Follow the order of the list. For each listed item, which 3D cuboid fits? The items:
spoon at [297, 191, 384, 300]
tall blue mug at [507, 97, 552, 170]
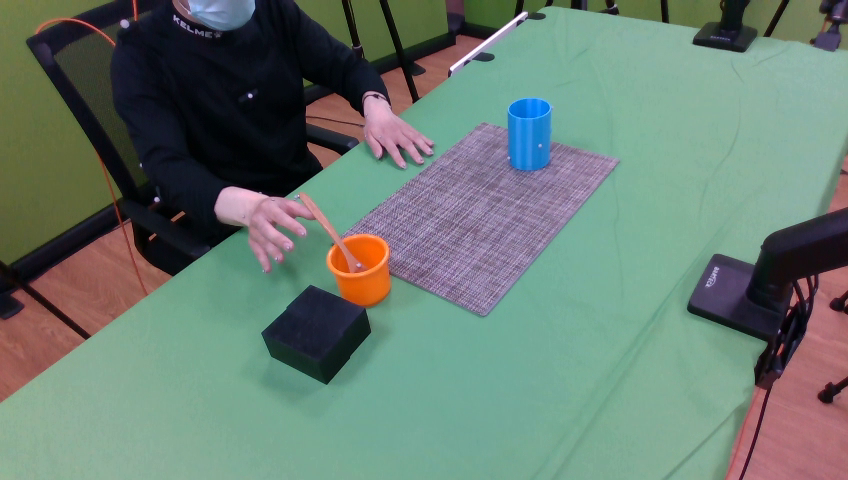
[{"bbox_3d":[-0.123,0.006,0.882,0.042,0.194,0.021,-36,4,-21],"label":"spoon"},{"bbox_3d":[0.179,-0.198,1.101,0.078,0.108,0.106,-37,49,-28],"label":"tall blue mug"}]
